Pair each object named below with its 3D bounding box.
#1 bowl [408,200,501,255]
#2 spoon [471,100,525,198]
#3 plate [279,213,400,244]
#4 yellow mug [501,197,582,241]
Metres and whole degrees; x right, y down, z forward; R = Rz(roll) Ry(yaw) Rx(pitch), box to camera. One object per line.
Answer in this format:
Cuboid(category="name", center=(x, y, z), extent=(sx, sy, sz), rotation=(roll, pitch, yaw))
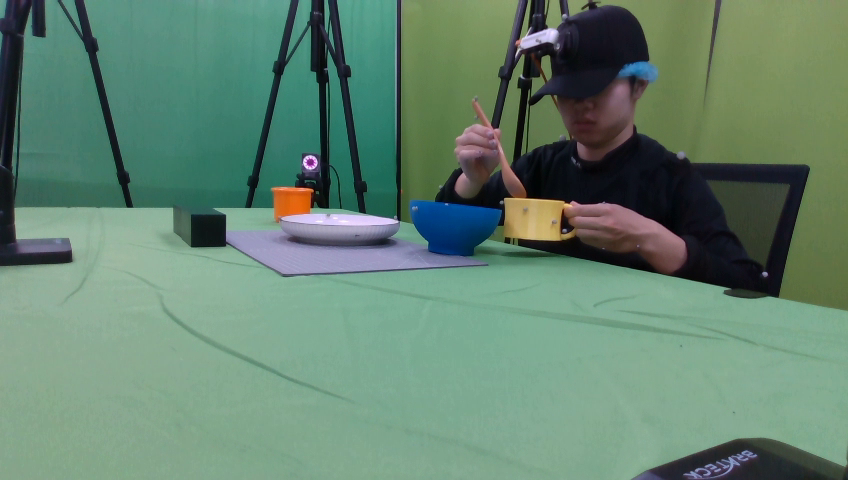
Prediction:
Cuboid(category="bowl", center=(0.045, -0.019, 0.967), extent=(0.151, 0.077, 0.151), rotation=(6, 5, 0))
Cuboid(category="spoon", center=(0.120, -0.150, 0.998), extent=(0.022, 0.193, 0.041), rotation=(-16, -16, -17))
Cuboid(category="plate", center=(-0.147, -0.020, 1.060), extent=(0.209, 0.038, 0.209), rotation=(3, 7, 0))
Cuboid(category="yellow mug", center=(0.194, -0.034, 0.996), extent=(0.131, 0.064, 0.100), rotation=(4, 3, 2))
